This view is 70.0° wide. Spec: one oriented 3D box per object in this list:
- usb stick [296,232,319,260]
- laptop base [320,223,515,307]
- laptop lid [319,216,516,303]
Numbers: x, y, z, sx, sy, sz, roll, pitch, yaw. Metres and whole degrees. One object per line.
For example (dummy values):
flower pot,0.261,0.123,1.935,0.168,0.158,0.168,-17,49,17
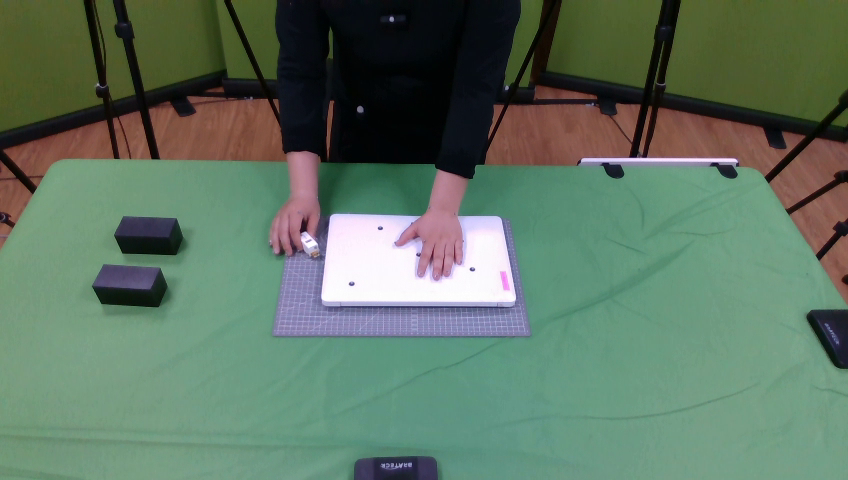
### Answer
usb stick,-0.222,0.013,1.161,0.021,0.027,0.059,-28,57,-27
laptop base,-0.013,0.040,1.160,0.355,0.023,0.234,0,42,-4
laptop lid,-0.013,0.031,1.155,0.357,0.013,0.240,2,43,-3
